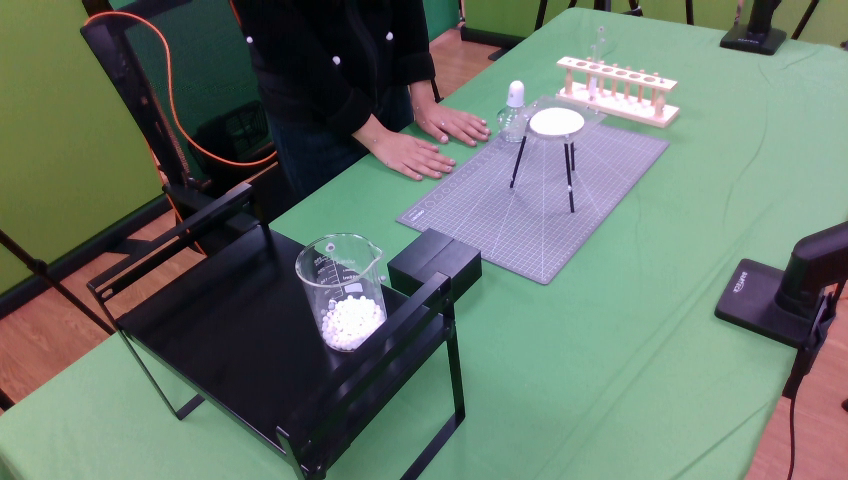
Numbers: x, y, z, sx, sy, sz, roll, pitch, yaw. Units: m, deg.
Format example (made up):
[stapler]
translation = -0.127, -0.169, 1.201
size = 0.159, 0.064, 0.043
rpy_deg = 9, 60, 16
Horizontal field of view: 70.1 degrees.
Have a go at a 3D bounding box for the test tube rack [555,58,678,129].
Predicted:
[test tube rack]
translation = 0.389, -0.307, 1.229
size = 0.240, 0.085, 0.067
rpy_deg = 26, 50, 33

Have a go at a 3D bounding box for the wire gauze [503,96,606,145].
[wire gauze]
translation = 0.211, -0.192, 0.975
size = 0.120, 0.011, 0.125
rpy_deg = 24, 49, 32

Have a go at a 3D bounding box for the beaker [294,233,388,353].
[beaker]
translation = -0.073, 0.053, 0.585
size = 0.084, 0.101, 0.073
rpy_deg = -13, 41, -6

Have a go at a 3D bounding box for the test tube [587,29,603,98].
[test tube]
translation = 0.342, -0.349, 1.209
size = 0.017, 0.151, 0.017
rpy_deg = -3, 46, 4

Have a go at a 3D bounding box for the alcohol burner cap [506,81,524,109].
[alcohol burner cap]
translation = 0.173, -0.277, 1.144
size = 0.034, 0.048, 0.033
rpy_deg = 0, 38, 1

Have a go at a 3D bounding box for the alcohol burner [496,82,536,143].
[alcohol burner]
translation = 0.178, -0.250, 1.168
size = 0.078, 0.119, 0.077
rpy_deg = -5, 42, 5

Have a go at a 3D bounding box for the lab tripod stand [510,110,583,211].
[lab tripod stand]
translation = 0.220, -0.138, 1.014
size = 0.148, 0.132, 0.147
rpy_deg = -3, 41, 3
